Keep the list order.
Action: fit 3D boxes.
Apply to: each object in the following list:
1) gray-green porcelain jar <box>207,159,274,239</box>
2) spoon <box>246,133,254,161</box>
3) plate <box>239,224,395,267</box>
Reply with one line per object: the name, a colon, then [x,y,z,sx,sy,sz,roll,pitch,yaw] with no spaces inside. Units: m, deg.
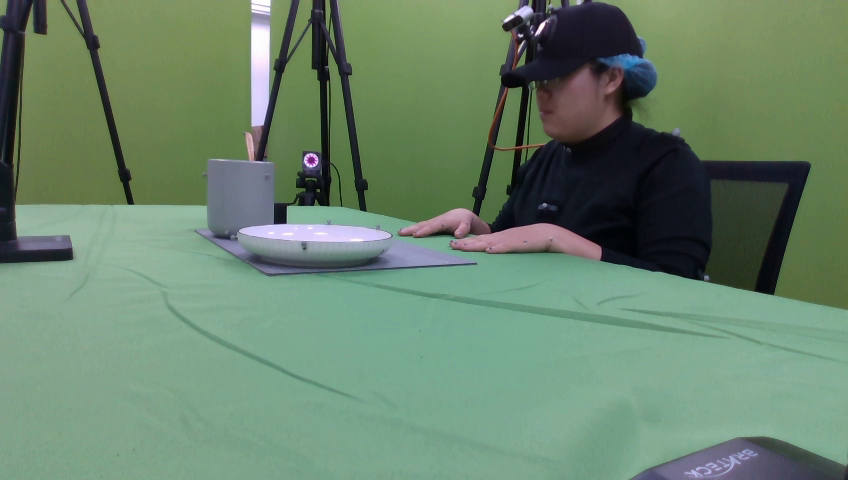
gray-green porcelain jar: [-0.304,-0.068,1.004,0.106,0.126,0.106,3,7,0]
spoon: [-0.344,-0.153,1.209,0.042,0.021,0.193,3,51,-22]
plate: [-0.144,0.007,0.823,0.208,0.039,0.207,3,7,0]
